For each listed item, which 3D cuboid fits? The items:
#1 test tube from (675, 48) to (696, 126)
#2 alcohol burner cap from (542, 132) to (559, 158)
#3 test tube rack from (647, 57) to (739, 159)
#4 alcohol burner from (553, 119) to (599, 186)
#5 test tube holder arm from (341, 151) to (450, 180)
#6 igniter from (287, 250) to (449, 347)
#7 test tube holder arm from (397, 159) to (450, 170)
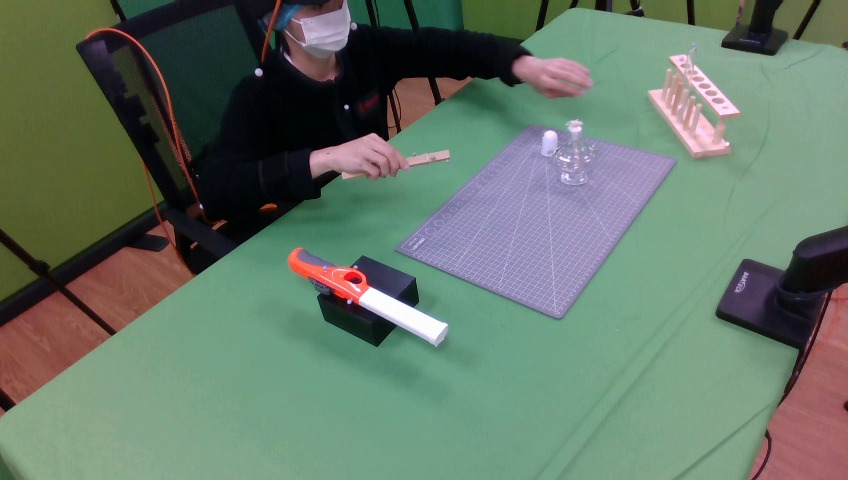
[{"bbox_3d":[0.481,-0.279,1.112,0.017,0.151,0.017,-5,40,5],"label":"test tube"},{"bbox_3d":[0.237,-0.180,1.134,0.034,0.048,0.033,-5,41,5],"label":"alcohol burner cap"},{"bbox_3d":[0.504,-0.257,1.153,0.067,0.085,0.241,-7,40,1],"label":"test tube rack"},{"bbox_3d":[0.261,-0.153,1.042,0.078,0.119,0.077,-6,40,6],"label":"alcohol burner"},{"bbox_3d":[-0.047,-0.120,0.978,0.178,0.013,0.015,-11,81,1],"label":"test tube holder arm"},{"bbox_3d":[-0.087,0.073,0.825,0.274,0.025,0.057,23,48,27],"label":"igniter"},{"bbox_3d":[-0.002,-0.128,0.983,0.088,0.010,0.015,-11,81,0],"label":"test tube holder arm"}]
